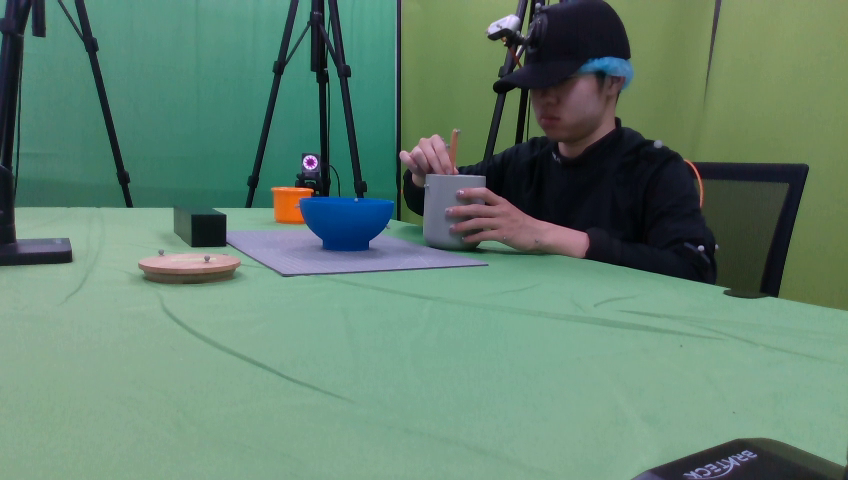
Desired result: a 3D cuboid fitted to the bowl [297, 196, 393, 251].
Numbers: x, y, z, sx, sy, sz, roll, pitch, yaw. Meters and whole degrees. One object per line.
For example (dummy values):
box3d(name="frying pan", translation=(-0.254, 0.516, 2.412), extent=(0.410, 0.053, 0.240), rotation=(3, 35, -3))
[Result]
box3d(name="bowl", translation=(-0.125, -0.026, 0.957), extent=(0.151, 0.077, 0.151), rotation=(2, 7, 0))

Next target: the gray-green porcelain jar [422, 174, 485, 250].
box3d(name="gray-green porcelain jar", translation=(0.050, -0.049, 1.040), extent=(0.106, 0.126, 0.106), rotation=(2, 8, 0))

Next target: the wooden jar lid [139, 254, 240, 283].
box3d(name="wooden jar lid", translation=(-0.269, 0.033, 0.698), extent=(0.108, 0.020, 0.108), rotation=(2, 5, 0))

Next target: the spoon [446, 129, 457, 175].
box3d(name="spoon", translation=(0.035, -0.091, 1.018), extent=(0.022, 0.193, 0.041), rotation=(13, 0, -31))
